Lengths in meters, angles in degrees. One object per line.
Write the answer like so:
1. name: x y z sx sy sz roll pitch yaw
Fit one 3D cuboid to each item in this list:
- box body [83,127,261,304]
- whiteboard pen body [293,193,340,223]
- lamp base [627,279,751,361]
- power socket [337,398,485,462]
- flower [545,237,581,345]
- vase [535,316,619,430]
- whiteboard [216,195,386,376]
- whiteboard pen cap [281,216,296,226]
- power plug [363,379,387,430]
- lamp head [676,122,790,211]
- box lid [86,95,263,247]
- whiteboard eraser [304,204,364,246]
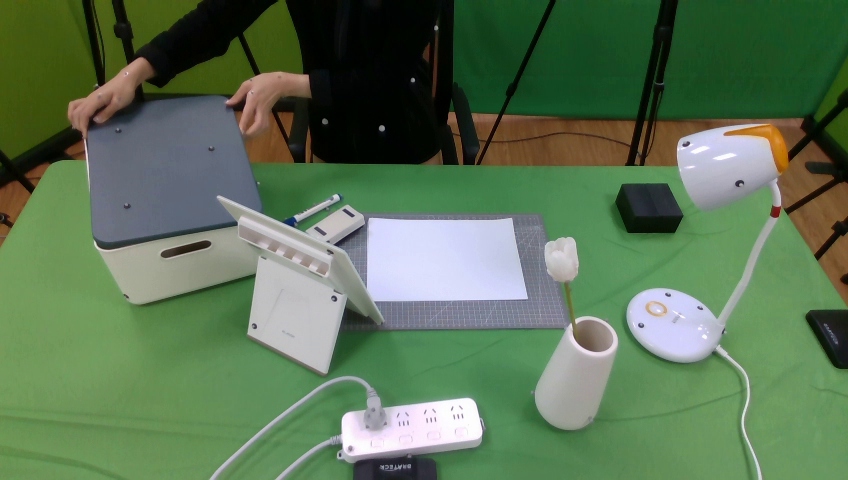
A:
1. box body: -0.465 -0.077 1.137 0.254 0.161 0.361 -16 50 -19
2. whiteboard pen body: -0.231 -0.061 1.243 0.141 0.017 0.017 -32 56 -30
3. lamp base: 0.460 0.100 1.027 0.178 0.181 0.160 27 51 17
4. power socket: -0.018 0.285 0.914 0.227 0.033 0.071 -4 46 -8
5. flower: 0.213 0.137 0.846 0.038 0.364 0.044 22 55 40
6. vase: 0.229 0.200 0.900 0.098 0.201 0.097 3 46 -3
7. whiteboard: -0.212 0.093 0.939 0.216 0.307 0.143 24 70 17
8. whiteboard pen cap: -0.274 -0.034 1.213 0.033 0.018 0.018 -32 56 -32
9. power plug: -0.071 0.252 0.911 0.035 0.053 0.072 3 40 0
10. lamp head: 0.423 -0.104 0.819 0.122 0.113 0.112 -13 33 40
11. box lid: -0.449 -0.138 1.074 0.264 0.015 0.369 -12 50 -20
12. whiteboard eraser: -0.175 -0.022 1.188 0.055 0.042 0.112 36 53 26
